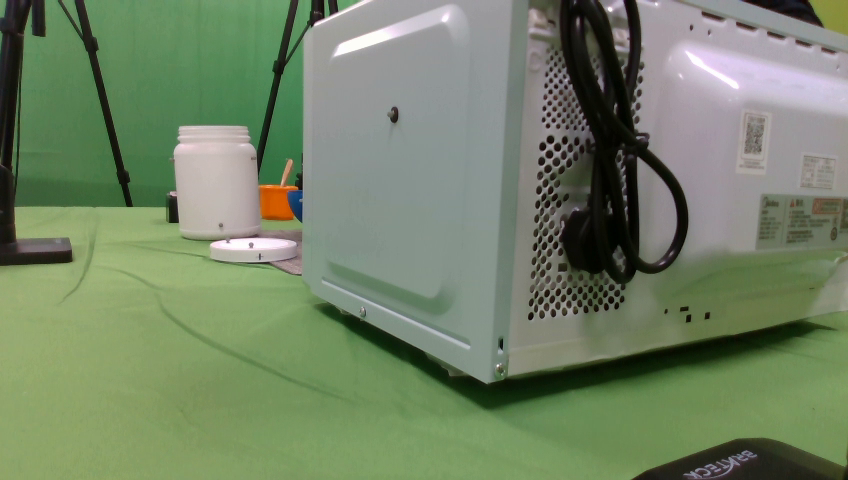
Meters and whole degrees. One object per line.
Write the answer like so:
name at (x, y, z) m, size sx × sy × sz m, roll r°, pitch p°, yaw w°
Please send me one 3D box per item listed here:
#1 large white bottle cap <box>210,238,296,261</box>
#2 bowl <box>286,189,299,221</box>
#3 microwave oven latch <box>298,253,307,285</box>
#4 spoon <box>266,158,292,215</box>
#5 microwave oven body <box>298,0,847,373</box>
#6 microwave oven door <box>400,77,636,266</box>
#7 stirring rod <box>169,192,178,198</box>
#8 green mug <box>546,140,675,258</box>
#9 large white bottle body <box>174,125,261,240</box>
large white bottle cap at (-0.236, 0.012, 0.839) m, size 0.115 × 0.018 × 0.115 m, roll 2°, pitch 7°, yaw 0°
bowl at (-0.179, -0.051, 1.115) m, size 0.151 × 0.077 × 0.151 m, roll 3°, pitch 8°, yaw 0°
microwave oven latch at (-0.081, 0.027, 0.582) m, size 0.079 × 0.029 × 0.030 m, roll -1°, pitch 7°, yaw -32°
spoon at (-0.334, -0.127, 1.423) m, size 0.041 × 0.193 × 0.022 m, roll 0°, pitch -37°, yaw 7°
microwave oven body at (0.151, -0.055, 0.543) m, size 0.444 × 0.260 × 0.324 m, roll -2°, pitch 7°, yaw -33°
microwave oven door at (0.117, -0.103, 0.875) m, size 0.354 × 0.243 × 0.039 m, roll 7°, pitch 9°, yaw 35°
stirring rod at (-0.465, -0.098, 1.283) m, size 0.014 × 0.006 × 0.177 m, roll 42°, pitch 21°, yaw 17°
green mug at (0.173, -0.035, 0.579) m, size 0.124 × 0.105 × 0.093 m, roll -1°, pitch -1°, yaw 42°
large white bottle body at (-0.349, -0.100, 1.025) m, size 0.131 × 0.184 × 0.130 m, roll -1°, pitch 9°, yaw 0°
